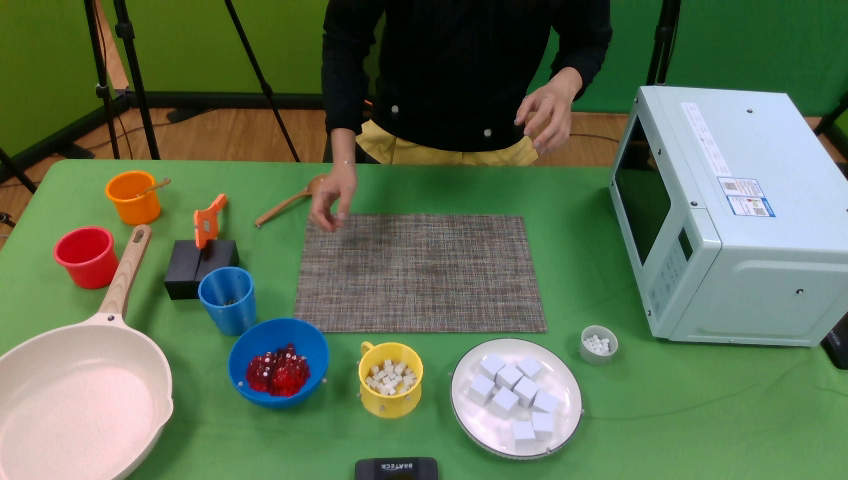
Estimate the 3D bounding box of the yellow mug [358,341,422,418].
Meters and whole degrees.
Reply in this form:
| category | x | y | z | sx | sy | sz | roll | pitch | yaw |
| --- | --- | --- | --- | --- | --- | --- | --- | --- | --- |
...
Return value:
| category | x | y | z | sx | sy | sz | roll | pitch | yaw |
| --- | --- | --- | --- | --- | --- | --- | --- | --- | --- |
| yellow mug | -0.063 | 0.210 | 0.961 | 0.100 | 0.064 | 0.130 | -29 | 54 | -28 |

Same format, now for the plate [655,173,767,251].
| category | x | y | z | sx | sy | sz | roll | pitch | yaw |
| --- | --- | --- | --- | --- | --- | --- | --- | --- | --- |
| plate | 0.556 | -0.052 | 1.186 | 0.209 | 0.038 | 0.208 | 2 | 45 | -2 |

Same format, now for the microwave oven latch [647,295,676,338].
| category | x | y | z | sx | sy | sz | roll | pitch | yaw |
| --- | --- | --- | --- | --- | --- | --- | --- | --- | --- |
| microwave oven latch | 0.413 | 0.133 | 1.060 | 0.030 | 0.029 | 0.078 | 4 | 46 | 1 |

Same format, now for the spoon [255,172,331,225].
| category | x | y | z | sx | sy | sz | roll | pitch | yaw |
| --- | --- | --- | --- | --- | --- | --- | --- | --- | --- |
| spoon | -0.272 | -0.087 | 1.256 | 0.041 | 0.022 | 0.193 | 42 | 56 | 18 |

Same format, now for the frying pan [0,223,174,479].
| category | x | y | z | sx | sy | sz | roll | pitch | yaw |
| --- | --- | --- | --- | --- | --- | --- | --- | --- | --- |
| frying pan | -0.505 | 0.169 | 0.941 | 0.307 | 0.103 | 0.485 | 5 | 54 | -1 |

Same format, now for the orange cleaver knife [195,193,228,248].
| category | x | y | z | sx | sy | sz | roll | pitch | yaw |
| --- | --- | --- | --- | --- | --- | --- | --- | --- | --- |
| orange cleaver knife | -0.406 | -0.041 | 1.163 | 0.012 | 0.077 | 0.210 | 0 | 18 | -3 |

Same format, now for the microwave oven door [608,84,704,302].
| category | x | y | z | sx | sy | sz | roll | pitch | yaw |
| --- | --- | --- | --- | --- | --- | --- | --- | --- | --- |
| microwave oven door | 0.424 | -0.096 | 1.138 | 0.039 | 0.245 | 0.353 | 2 | 46 | -1 |

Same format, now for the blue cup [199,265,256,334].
| category | x | y | z | sx | sy | sz | roll | pitch | yaw |
| --- | --- | --- | --- | --- | --- | --- | --- | --- | --- |
| blue cup | -0.321 | 0.106 | 1.014 | 0.093 | 0.101 | 0.092 | 2 | 49 | -2 |

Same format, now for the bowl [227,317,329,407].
| category | x | y | z | sx | sy | sz | roll | pitch | yaw |
| --- | --- | --- | --- | --- | --- | --- | --- | --- | --- |
| bowl | -0.222 | 0.203 | 0.947 | 0.151 | 0.077 | 0.150 | 2 | 46 | -2 |

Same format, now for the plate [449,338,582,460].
| category | x | y | z | sx | sy | sz | roll | pitch | yaw |
| --- | --- | --- | --- | --- | --- | --- | --- | --- | --- |
| plate | 0.141 | 0.251 | 0.955 | 0.208 | 0.039 | 0.206 | 2 | 47 | -2 |

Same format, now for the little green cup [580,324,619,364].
| category | x | y | z | sx | sy | sz | roll | pitch | yaw |
| --- | --- | --- | --- | --- | --- | --- | --- | --- | --- |
| little green cup | 0.296 | 0.179 | 1.031 | 0.061 | 0.039 | 0.061 | 2 | 45 | -2 |

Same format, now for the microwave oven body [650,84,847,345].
| category | x | y | z | sx | sy | sz | roll | pitch | yaw |
| --- | --- | --- | --- | --- | --- | --- | --- | --- | --- |
| microwave oven body | 0.569 | -0.054 | 1.116 | 0.326 | 0.261 | 0.439 | 2 | 46 | -1 |

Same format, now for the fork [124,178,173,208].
| category | x | y | z | sx | sy | sz | roll | pitch | yaw |
| --- | --- | --- | --- | --- | --- | --- | --- | --- | --- |
| fork | -0.525 | -0.090 | 1.154 | 0.207 | 0.019 | 0.028 | -17 | 27 | 45 |

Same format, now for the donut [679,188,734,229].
| category | x | y | z | sx | sy | sz | roll | pitch | yaw |
| --- | --- | --- | --- | --- | --- | --- | --- | --- | --- |
| donut | 0.546 | -0.062 | 1.175 | 0.099 | 0.048 | 0.098 | 0 | 44 | 0 |
